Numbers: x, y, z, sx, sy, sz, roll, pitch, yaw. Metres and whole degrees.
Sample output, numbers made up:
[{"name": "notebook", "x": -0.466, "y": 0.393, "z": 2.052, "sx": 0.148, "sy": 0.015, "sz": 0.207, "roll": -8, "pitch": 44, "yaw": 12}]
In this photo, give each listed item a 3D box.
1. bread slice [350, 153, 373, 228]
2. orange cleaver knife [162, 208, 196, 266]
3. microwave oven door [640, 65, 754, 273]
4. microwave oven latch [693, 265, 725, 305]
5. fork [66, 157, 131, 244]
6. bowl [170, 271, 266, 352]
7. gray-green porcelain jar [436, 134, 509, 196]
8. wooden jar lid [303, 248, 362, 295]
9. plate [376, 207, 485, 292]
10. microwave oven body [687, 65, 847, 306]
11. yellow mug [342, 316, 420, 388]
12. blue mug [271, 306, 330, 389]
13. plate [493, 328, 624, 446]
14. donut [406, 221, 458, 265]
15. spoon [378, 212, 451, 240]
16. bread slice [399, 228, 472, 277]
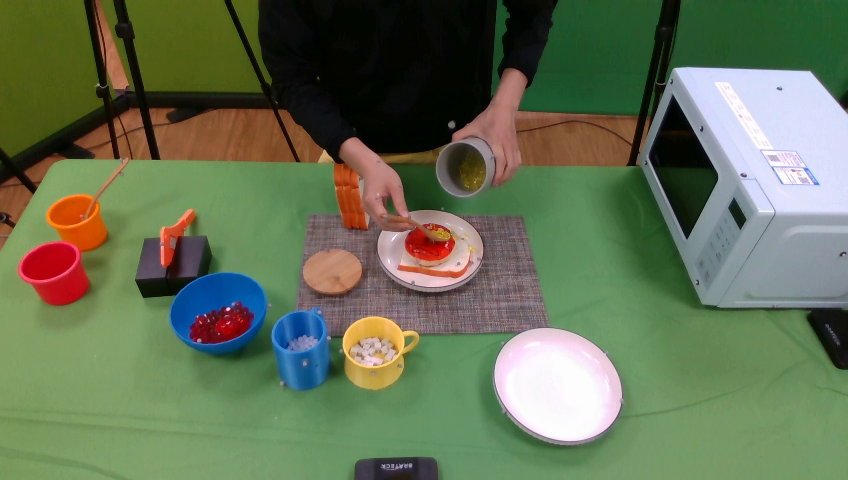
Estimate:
[{"name": "bread slice", "x": -0.125, "y": -0.104, "z": 1.207, "sx": 0.018, "sy": 0.135, "sz": 0.106, "roll": -1, "pitch": 48, "yaw": 6}, {"name": "orange cleaver knife", "x": -0.454, "y": -0.010, "z": 1.129, "sx": 0.012, "sy": 0.077, "sz": 0.210, "roll": -1, "pitch": 17, "yaw": -6}, {"name": "microwave oven door", "x": 0.523, "y": -0.147, "z": 1.193, "sx": 0.039, "sy": 0.245, "sz": 0.353, "roll": 0, "pitch": 47, "yaw": -3}, {"name": "microwave oven latch", "x": 0.522, "y": 0.081, "z": 1.115, "sx": 0.030, "sy": 0.029, "sz": 0.078, "roll": 2, "pitch": 46, "yaw": -1}, {"name": "fork", "x": -0.608, "y": -0.074, "z": 1.132, "sx": 0.207, "sy": 0.019, "sz": 0.028, "roll": -52, "pitch": 49, "yaw": 10}, {"name": "bowl", "x": -0.333, "y": 0.132, "z": 1.006, "sx": 0.151, "sy": 0.077, "sz": 0.150, "roll": 2, "pitch": 46, "yaw": -2}, {"name": "gray-green porcelain jar", "x": 0.097, "y": -0.145, "z": 1.145, "sx": 0.105, "sy": 0.106, "sz": 0.126, "roll": 26, "pitch": 25, "yaw": 20}, {"name": "wooden jar lid", "x": -0.169, "y": 0.060, "z": 1.122, "sx": 0.108, "sy": 0.021, "sz": 0.107, "roll": 2, "pitch": 46, "yaw": -2}, {"name": "plate", "x": 0.012, "y": 0.021, "z": 1.159, "sx": 0.209, "sy": 0.038, "sz": 0.208, "roll": 2, "pitch": 46, "yaw": -2}, {"name": "microwave oven body", "x": 0.669, "y": -0.111, "z": 1.176, "sx": 0.326, "sy": 0.261, "sz": 0.439, "roll": 0, "pitch": 46, "yaw": -3}, {"name": "yellow mug", "x": -0.068, "y": 0.177, "z": 0.990, "sx": 0.131, "sy": 0.064, "sz": 0.099, "roll": -15, "pitch": 50, "yaw": -19}, {"name": "blue mug", "x": -0.188, "y": 0.163, "z": 0.969, "sx": 0.082, "sy": 0.106, "sz": 0.116, "roll": 15, "pitch": 47, "yaw": 10}, {"name": "plate", "x": 0.213, "y": 0.236, "z": 0.974, "sx": 0.208, "sy": 0.039, "sz": 0.206, "roll": 2, "pitch": 46, "yaw": -2}, {"name": "donut", "x": 0.014, "y": 0.004, "z": 1.137, "sx": 0.099, "sy": 0.048, "sz": 0.098, "roll": -1, "pitch": 44, "yaw": 1}, {"name": "spoon", "x": -0.016, "y": -0.026, "z": 1.036, "sx": 0.041, "sy": 0.195, "sz": 0.021, "roll": 30, "pitch": 95, "yaw": 37}, {"name": "bread slice", "x": 0.026, "y": 0.023, "z": 1.159, "sx": 0.131, "sy": 0.019, "sz": 0.104, "roll": 9, "pitch": 47, "yaw": 6}]
